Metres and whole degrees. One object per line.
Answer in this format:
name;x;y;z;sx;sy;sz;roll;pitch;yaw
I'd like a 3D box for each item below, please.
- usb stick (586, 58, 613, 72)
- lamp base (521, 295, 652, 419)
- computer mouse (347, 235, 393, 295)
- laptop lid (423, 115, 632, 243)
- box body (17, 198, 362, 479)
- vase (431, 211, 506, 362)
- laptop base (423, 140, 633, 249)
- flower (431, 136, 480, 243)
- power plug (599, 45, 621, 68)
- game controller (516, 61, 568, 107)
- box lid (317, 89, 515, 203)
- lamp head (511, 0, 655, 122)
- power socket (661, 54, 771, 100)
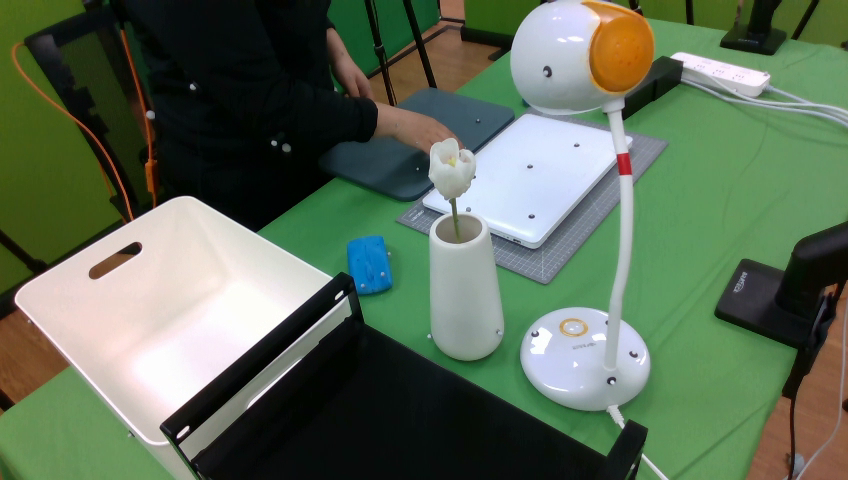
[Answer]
usb stick;0.401;-0.399;1.380;0.059;0.027;0.021;1;48;20
lamp base;0.201;0.095;0.710;0.161;0.181;0.177;-16;43;-10
computer mouse;-0.086;0.035;0.936;0.063;0.041;0.116;-8;44;-5
laptop lid;0.190;-0.126;1.081;0.239;0.013;0.358;23;48;34
box body;-0.285;0.123;0.766;0.361;0.161;0.255;25;49;33
vase;0.054;0.062;0.757;0.098;0.201;0.097;-3;40;3
laptop base;0.194;-0.117;1.087;0.233;0.023;0.355;20;47;34
flower;0.041;0.011;0.691;0.044;0.363;0.038;16;62;14
power plug;0.437;-0.422;1.412;0.053;0.035;0.072;-17;74;-47
game controller;0.259;-0.352;1.336;0.097;0.052;0.154;-3;41;2
box lid;-0.009;-0.207;1.236;0.261;0.015;0.372;23;49;31
lamp head;0.155;-0.168;0.564;0.113;0.113;0.122;-18;23;-12
power socket;0.615;-0.348;1.285;0.072;0.033;0.225;-36;48;-29
